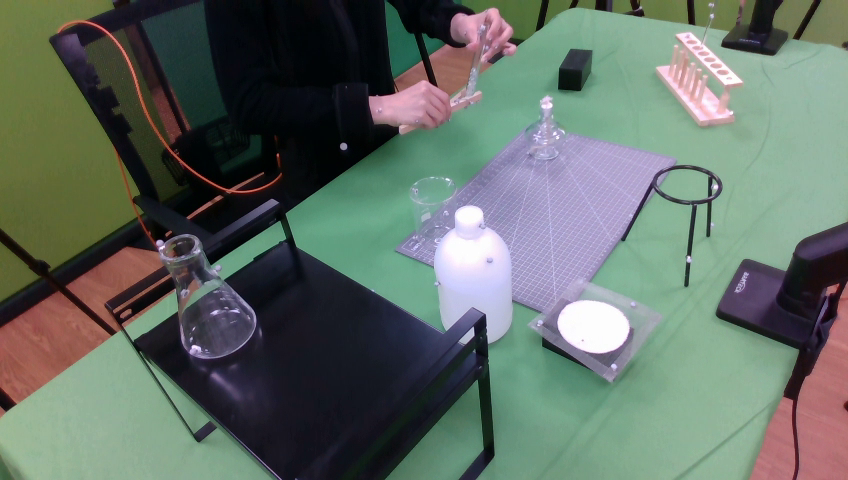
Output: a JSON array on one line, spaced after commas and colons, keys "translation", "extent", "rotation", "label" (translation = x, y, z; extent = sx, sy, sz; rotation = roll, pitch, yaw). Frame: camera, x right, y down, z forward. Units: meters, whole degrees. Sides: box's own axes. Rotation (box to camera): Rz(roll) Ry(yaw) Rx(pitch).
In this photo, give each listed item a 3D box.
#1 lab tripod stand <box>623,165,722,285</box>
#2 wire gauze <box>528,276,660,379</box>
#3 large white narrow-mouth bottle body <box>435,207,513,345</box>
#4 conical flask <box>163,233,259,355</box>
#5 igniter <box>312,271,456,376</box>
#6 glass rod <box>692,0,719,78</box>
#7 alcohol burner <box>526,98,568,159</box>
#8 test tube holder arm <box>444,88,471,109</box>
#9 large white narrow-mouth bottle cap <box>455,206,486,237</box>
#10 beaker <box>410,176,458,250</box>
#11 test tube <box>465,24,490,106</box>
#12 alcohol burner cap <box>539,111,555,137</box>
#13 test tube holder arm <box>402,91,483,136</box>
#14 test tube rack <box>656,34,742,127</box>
[{"translation": [0.365, -0.030, 0.874], "extent": [0.148, 0.132, 0.147], "rotation": [-6, 41, 6], "label": "lab tripod stand"}, {"translation": [0.213, 0.103, 0.763], "extent": [0.124, 0.011, 0.122], "rotation": [30, 52, 35], "label": "wire gauze"}, {"translation": [0.065, 0.041, 0.791], "extent": [0.102, 0.195, 0.101], "rotation": [-4, 41, 4], "label": "large white narrow-mouth bottle body"}, {"translation": [-0.216, 0.051, 0.601], "extent": [0.075, 0.122, 0.075], "rotation": [-4, 40, 4], "label": "conical flask"}, {"translation": [-0.068, 0.111, 0.859], "extent": [0.274, 0.025, 0.057], "rotation": [27, 61, 34], "label": "igniter"}, {"translation": [0.561, -0.401, 1.214], "extent": [0.008, 0.200, 0.008], "rotation": [-1, 48, 2], "label": "glass rod"}, {"translation": [0.228, -0.210, 1.118], "extent": [0.078, 0.119, 0.077], "rotation": [-5, 43, 5], "label": "alcohol burner"}, {"translation": [0.059, -0.243, 1.062], "extent": [0.010, 0.015, 0.088], "rotation": [18, 45, 24], "label": "test tube holder arm"}, {"translation": [0.057, -0.023, 0.734], "extent": [0.038, 0.024, 0.037], "rotation": [-4, 40, 4], "label": "large white narrow-mouth bottle cap"}, {"translation": [0.022, -0.041, 0.963], "extent": [0.073, 0.101, 0.084], "rotation": [28, 51, 35], "label": "beaker"}, {"translation": [0.090, -0.296, 1.036], "extent": [0.017, 0.150, 0.017], "rotation": [6, 43, -5], "label": "test tube"}, {"translation": [0.243, -0.232, 1.197], "extent": [0.034, 0.048, 0.033], "rotation": [-5, 40, 4], "label": "alcohol burner cap"}, {"translation": [0.034, -0.218, 1.035], "extent": [0.179, 0.015, 0.013], "rotation": [-32, 47, -29], "label": "test tube holder arm"}, {"translation": [0.553, -0.331, 1.233], "extent": [0.067, 0.085, 0.241], "rotation": [-7, 40, 2], "label": "test tube rack"}]
